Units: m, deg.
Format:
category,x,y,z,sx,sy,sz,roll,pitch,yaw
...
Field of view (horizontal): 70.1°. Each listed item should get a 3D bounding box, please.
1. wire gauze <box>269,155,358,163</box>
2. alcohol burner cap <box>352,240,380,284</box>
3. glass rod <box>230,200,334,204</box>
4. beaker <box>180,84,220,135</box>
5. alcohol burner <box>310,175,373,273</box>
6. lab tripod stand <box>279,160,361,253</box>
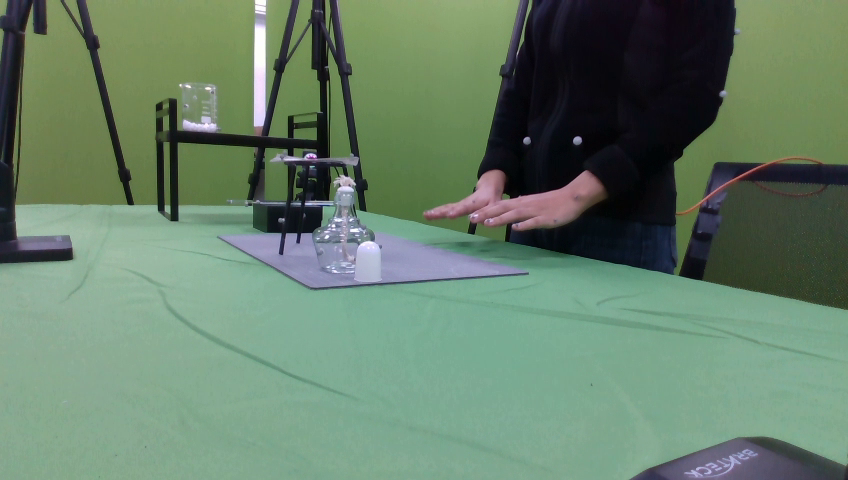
category,x,y,z,sx,sy,sz,roll,pitch,yaw
wire gauze,-0.159,-0.118,0.886,0.122,0.011,0.125,1,7,-9
alcohol burner cap,-0.065,0.023,0.690,0.034,0.048,0.034,3,10,0
glass rod,-0.267,-0.072,1.155,0.201,0.008,0.008,-1,8,-28
beaker,-0.475,-0.275,1.281,0.073,0.100,0.084,7,9,36
alcohol burner,-0.100,-0.020,0.740,0.078,0.119,0.078,1,6,0
lab tripod stand,-0.166,-0.052,0.897,0.148,0.131,0.148,0,7,0
